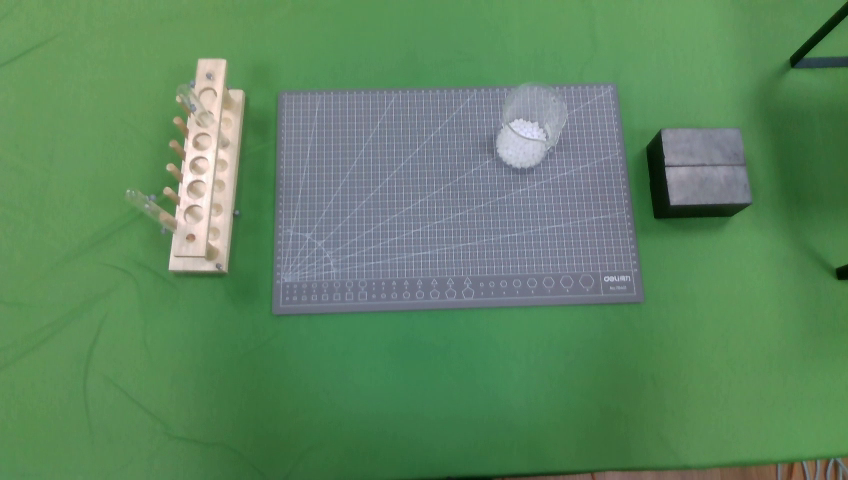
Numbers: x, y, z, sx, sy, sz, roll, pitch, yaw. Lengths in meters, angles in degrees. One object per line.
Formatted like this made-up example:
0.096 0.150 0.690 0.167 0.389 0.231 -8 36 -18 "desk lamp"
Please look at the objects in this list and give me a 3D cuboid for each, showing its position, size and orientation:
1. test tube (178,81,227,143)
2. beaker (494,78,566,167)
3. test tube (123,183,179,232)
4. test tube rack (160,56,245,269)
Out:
-0.250 -0.142 0.691 0.017 0.150 0.017 1 79 -4 "test tube"
0.127 -0.136 0.739 0.074 0.100 0.083 -30 78 -9 "beaker"
-0.291 -0.032 0.664 0.017 0.151 0.017 0 75 -1 "test tube"
-0.269 -0.092 0.727 0.067 0.085 0.241 1 75 -1 "test tube rack"
